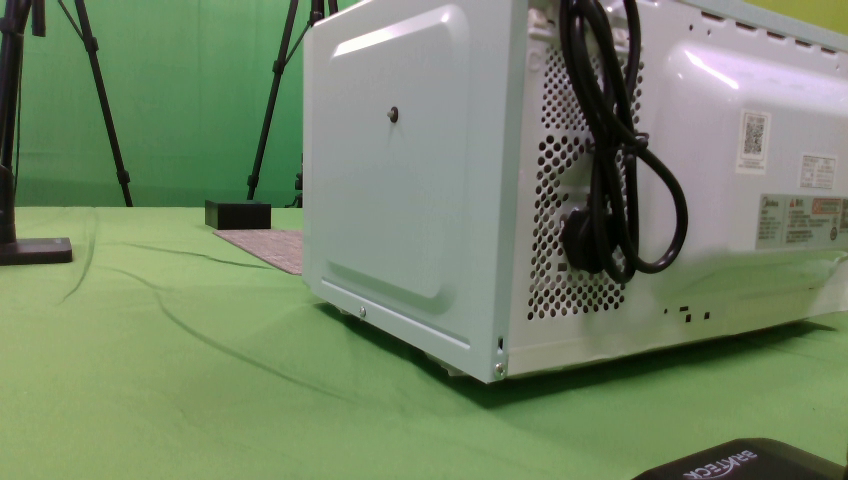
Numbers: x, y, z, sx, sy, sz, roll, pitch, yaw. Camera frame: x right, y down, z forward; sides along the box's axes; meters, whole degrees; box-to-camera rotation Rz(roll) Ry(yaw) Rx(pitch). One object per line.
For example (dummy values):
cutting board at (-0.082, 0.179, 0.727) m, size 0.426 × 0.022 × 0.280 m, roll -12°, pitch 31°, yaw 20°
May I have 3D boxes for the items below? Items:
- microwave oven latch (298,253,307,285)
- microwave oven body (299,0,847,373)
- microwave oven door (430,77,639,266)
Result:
microwave oven latch at (-0.081, 0.027, 0.582) m, size 0.079 × 0.029 × 0.030 m, roll -1°, pitch 7°, yaw -32°
microwave oven body at (0.151, -0.055, 0.543) m, size 0.444 × 0.260 × 0.324 m, roll -2°, pitch 7°, yaw -33°
microwave oven door at (0.143, -0.106, 0.903) m, size 0.039 × 0.243 × 0.354 m, roll -4°, pitch 9°, yaw -41°
